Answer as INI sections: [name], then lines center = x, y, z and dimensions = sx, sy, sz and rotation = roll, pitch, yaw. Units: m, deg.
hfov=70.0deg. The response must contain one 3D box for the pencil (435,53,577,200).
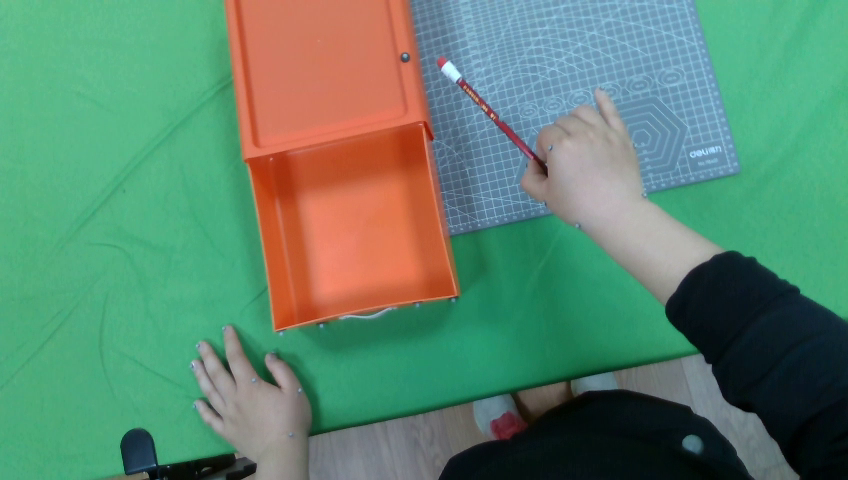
[pencil]
center = 0.078, -0.109, 0.579
dimensions = 0.012, 0.012, 0.193
rotation = -43, 84, 1

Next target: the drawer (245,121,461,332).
[drawer]
center = -0.076, -0.020, 0.653
dimensions = 0.194, 0.073, 0.211
rotation = -12, 84, 7

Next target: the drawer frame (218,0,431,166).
[drawer frame]
center = -0.111, -0.196, 0.674
dimensions = 0.201, 0.083, 0.212
rotation = -13, 81, 8
